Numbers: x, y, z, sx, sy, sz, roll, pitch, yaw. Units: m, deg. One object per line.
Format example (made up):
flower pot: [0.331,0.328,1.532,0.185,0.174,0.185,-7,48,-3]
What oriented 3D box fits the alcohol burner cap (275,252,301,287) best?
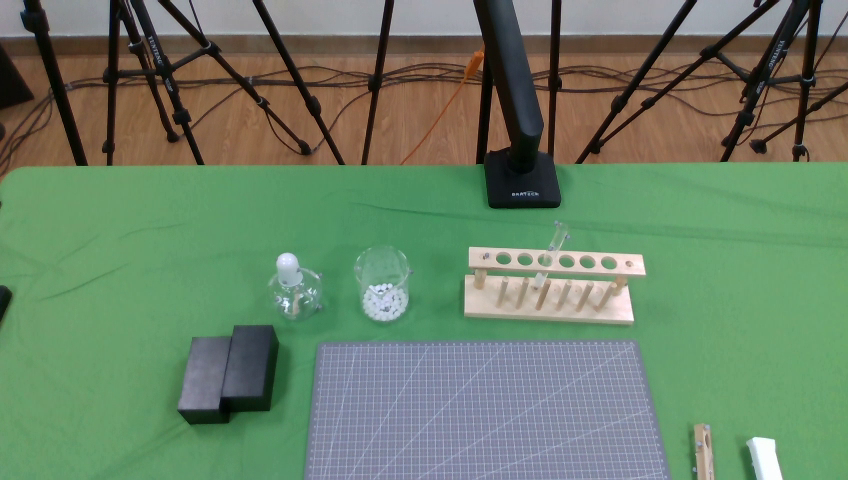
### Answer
alcohol burner cap: [-0.184,0.038,0.809,0.034,0.048,0.033,1,48,-1]

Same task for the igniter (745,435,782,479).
igniter: [0.415,0.361,0.690,0.057,0.025,0.274,10,54,-6]

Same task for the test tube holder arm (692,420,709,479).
test tube holder arm: [0.340,0.306,0.732,0.013,0.015,0.177,27,53,-21]

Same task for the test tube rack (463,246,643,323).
test tube rack: [0.179,0.064,0.863,0.242,0.086,0.066,3,55,0]

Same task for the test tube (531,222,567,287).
test tube: [0.170,0.024,0.830,0.017,0.151,0.017,3,56,-3]

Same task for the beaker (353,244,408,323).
beaker: [-0.059,0.066,0.846,0.074,0.101,0.083,2,54,0]

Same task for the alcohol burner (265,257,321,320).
alcohol burner: [-0.184,0.059,0.839,0.078,0.120,0.077,2,52,-2]

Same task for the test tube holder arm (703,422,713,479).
test tube holder arm: [0.352,0.273,0.759,0.010,0.015,0.087,29,52,-20]
